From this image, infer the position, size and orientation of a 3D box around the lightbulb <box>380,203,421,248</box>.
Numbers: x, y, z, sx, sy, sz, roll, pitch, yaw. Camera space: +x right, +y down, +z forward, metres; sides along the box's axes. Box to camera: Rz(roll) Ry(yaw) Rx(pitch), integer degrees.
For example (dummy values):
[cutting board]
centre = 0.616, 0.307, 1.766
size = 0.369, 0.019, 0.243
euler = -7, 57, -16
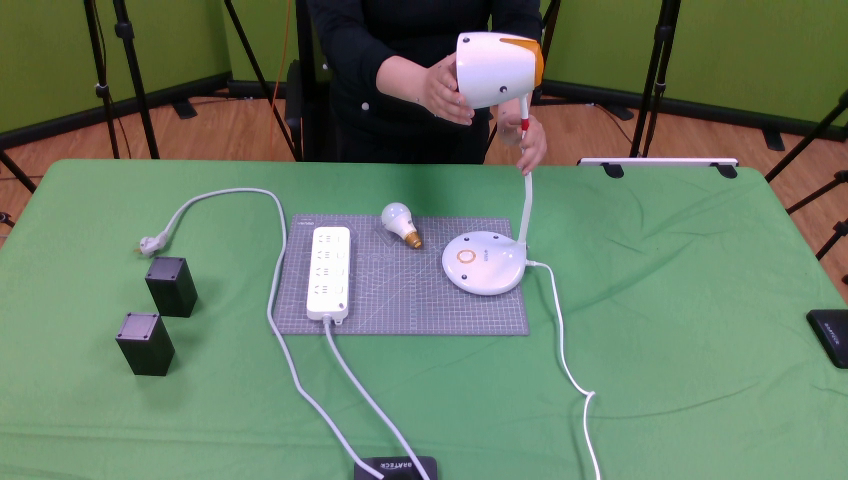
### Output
[lightbulb]
centre = -0.043, -0.026, 1.198
size = 0.059, 0.060, 0.107
euler = -28, 69, -28

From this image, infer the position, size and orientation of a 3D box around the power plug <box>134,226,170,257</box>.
[power plug]
centre = -0.515, 0.006, 1.152
size = 0.052, 0.035, 0.072
euler = -6, 24, 6

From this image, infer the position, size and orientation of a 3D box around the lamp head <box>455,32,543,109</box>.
[lamp head]
centre = 0.114, -0.251, 0.899
size = 0.123, 0.113, 0.112
euler = 2, 45, 11

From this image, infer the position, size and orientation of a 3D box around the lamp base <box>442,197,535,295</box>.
[lamp base]
centre = 0.130, -0.012, 1.105
size = 0.179, 0.181, 0.159
euler = -1, 46, -9

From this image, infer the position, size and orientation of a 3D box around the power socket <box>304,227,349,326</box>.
[power socket]
centre = -0.177, 0.059, 1.115
size = 0.072, 0.033, 0.225
euler = -1, 46, -4
